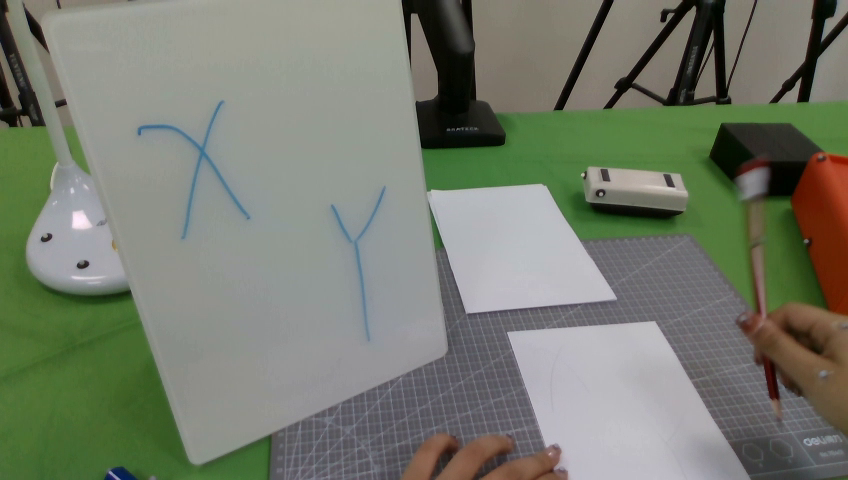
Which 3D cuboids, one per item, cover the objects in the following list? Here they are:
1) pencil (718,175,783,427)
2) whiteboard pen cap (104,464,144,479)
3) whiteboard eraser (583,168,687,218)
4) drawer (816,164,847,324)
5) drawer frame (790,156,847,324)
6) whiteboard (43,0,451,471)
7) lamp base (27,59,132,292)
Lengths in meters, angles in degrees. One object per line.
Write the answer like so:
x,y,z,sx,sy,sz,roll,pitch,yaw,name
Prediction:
0.246,0.040,0.455,0.012,0.012,0.192,-1,71,-6,pencil
-0.198,0.165,0.407,0.033,0.018,0.018,21,41,25,whiteboard pen cap
0.247,-0.055,0.715,0.112,0.042,0.055,6,39,3,whiteboard eraser
0.511,0.013,0.618,0.194,0.074,0.210,11,37,11,drawer
0.512,0.009,0.620,0.201,0.083,0.212,10,37,10,drawer frame
-0.122,-0.026,0.474,0.218,0.307,0.142,-18,23,-25,whiteboard
-0.314,-0.069,0.569,0.178,0.182,0.160,21,41,25,lamp base
